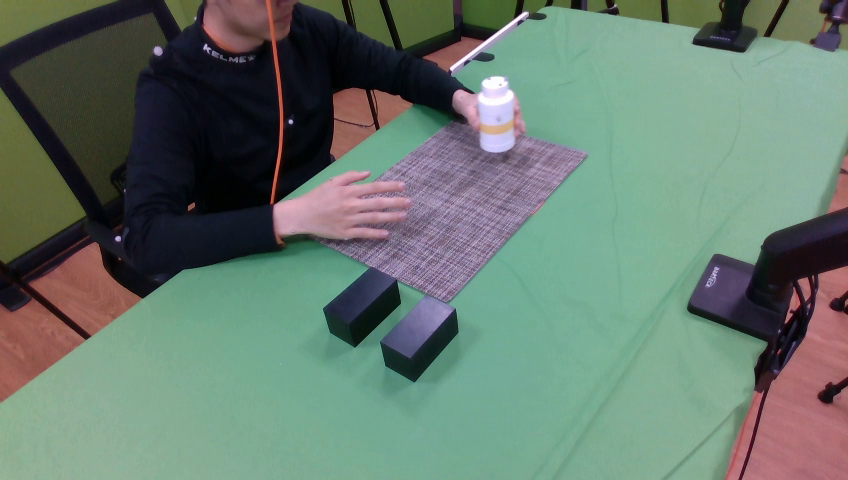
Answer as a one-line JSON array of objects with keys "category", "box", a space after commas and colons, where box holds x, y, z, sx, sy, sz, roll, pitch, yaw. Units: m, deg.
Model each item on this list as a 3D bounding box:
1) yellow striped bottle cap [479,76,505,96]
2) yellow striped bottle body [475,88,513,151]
[{"category": "yellow striped bottle cap", "box": [0.115, -0.260, 1.019, 0.044, 0.019, 0.044, -3, 40, 3]}, {"category": "yellow striped bottle body", "box": [0.122, -0.221, 1.053, 0.063, 0.121, 0.062, -5, 40, 5]}]
